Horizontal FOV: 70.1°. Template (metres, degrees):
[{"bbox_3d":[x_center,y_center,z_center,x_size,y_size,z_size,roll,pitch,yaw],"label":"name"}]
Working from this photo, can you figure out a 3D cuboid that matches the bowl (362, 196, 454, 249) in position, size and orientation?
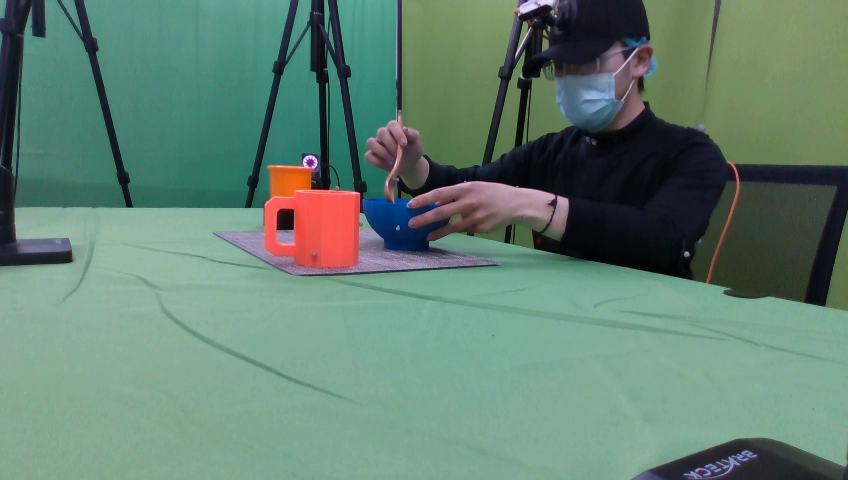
[{"bbox_3d":[-0.027,-0.028,0.984,0.151,0.077,0.151,3,7,0],"label":"bowl"}]

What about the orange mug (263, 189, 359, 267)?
[{"bbox_3d":[-0.147,-0.019,0.795,0.127,0.100,0.083,5,6,-19],"label":"orange mug"}]

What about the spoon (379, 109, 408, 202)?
[{"bbox_3d":[-0.043,-0.137,1.005,0.041,0.193,0.022,5,-19,8],"label":"spoon"}]
